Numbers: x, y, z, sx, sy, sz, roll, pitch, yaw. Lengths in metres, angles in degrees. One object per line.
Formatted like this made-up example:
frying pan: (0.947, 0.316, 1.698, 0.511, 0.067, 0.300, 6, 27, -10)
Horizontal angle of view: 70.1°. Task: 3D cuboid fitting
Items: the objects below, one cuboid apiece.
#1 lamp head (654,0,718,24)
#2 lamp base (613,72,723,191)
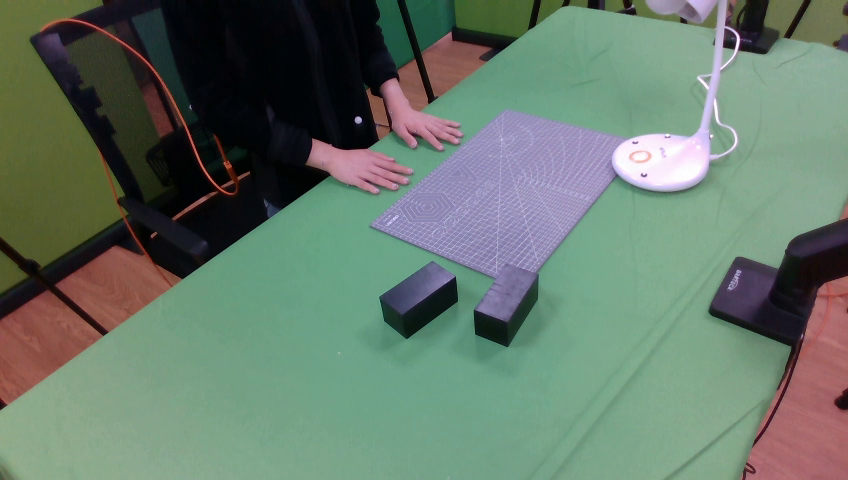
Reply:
lamp head: (0.356, -0.361, 0.788, 0.123, 0.113, 0.111, -51, 42, 13)
lamp base: (0.423, -0.198, 1.020, 0.179, 0.181, 0.159, -6, 42, -3)
